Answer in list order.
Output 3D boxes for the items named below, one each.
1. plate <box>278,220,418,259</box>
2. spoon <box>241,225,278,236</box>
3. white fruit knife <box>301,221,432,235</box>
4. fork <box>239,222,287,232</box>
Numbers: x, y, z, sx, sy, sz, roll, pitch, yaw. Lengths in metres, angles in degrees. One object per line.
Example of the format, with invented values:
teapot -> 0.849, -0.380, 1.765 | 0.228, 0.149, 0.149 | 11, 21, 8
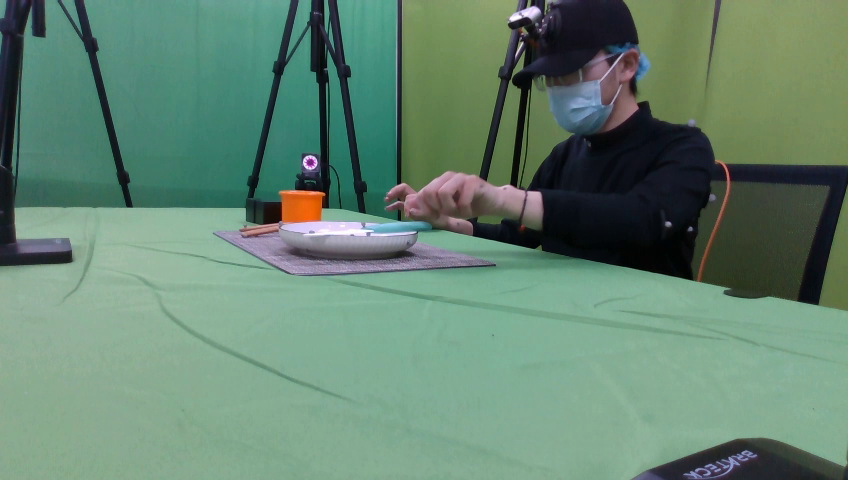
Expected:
plate -> -0.114, -0.002, 0.914 | 0.209, 0.038, 0.209 | 2, 8, 0
spoon -> -0.232, -0.021, 1.082 | 0.195, 0.021, 0.041 | -3, 27, -37
white fruit knife -> -0.079, -0.015, 0.858 | 0.208, 0.016, 0.027 | -4, 14, -38
fork -> -0.240, -0.025, 1.125 | 0.208, 0.018, 0.028 | -1, 14, -35
